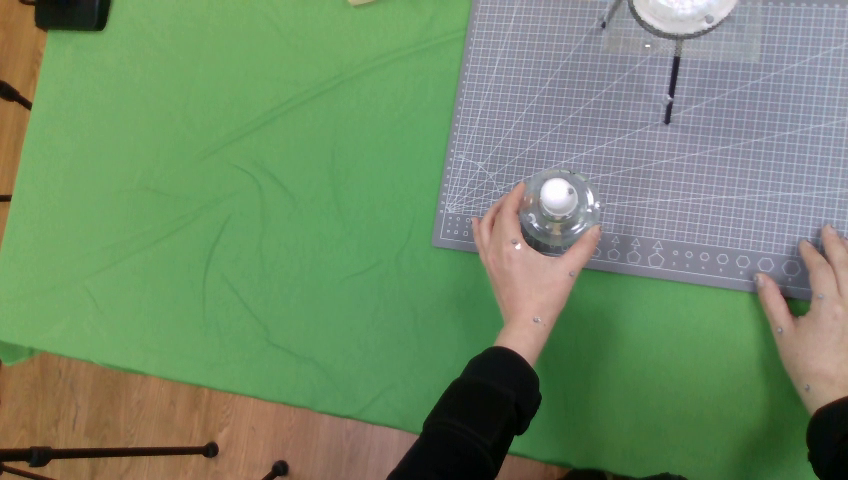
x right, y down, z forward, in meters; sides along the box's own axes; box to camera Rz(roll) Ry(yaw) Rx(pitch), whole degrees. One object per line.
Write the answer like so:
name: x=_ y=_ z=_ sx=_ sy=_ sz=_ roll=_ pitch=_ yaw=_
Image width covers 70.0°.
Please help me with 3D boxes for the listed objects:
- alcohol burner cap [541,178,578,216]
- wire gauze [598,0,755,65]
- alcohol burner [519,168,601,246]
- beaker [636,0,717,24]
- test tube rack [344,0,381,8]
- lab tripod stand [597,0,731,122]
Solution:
alcohol burner cap: x=0.119 y=-0.040 z=0.538 sx=0.034 sy=0.048 sz=0.034 roll=-1 pitch=85 yaw=16
wire gauze: x=0.215 y=-0.211 z=0.509 sx=0.125 sy=0.011 sz=0.121 roll=8 pitch=88 yaw=13
alcohol burner: x=0.128 y=-0.034 z=0.572 sx=0.078 sy=0.119 sz=0.077 roll=-2 pitch=82 yaw=12
beaker: x=0.198 y=-0.219 z=0.464 sx=0.083 sy=0.101 sz=0.074 roll=22 pitch=89 yaw=17
test tube rack: x=0.009 y=-0.339 z=0.676 sx=0.242 sy=0.085 sz=0.066 roll=-9 pitch=80 yaw=13
lab tripod stand: x=0.232 y=-0.202 z=0.572 sx=0.148 sy=0.132 sz=0.148 roll=-1 pitch=84 yaw=13
